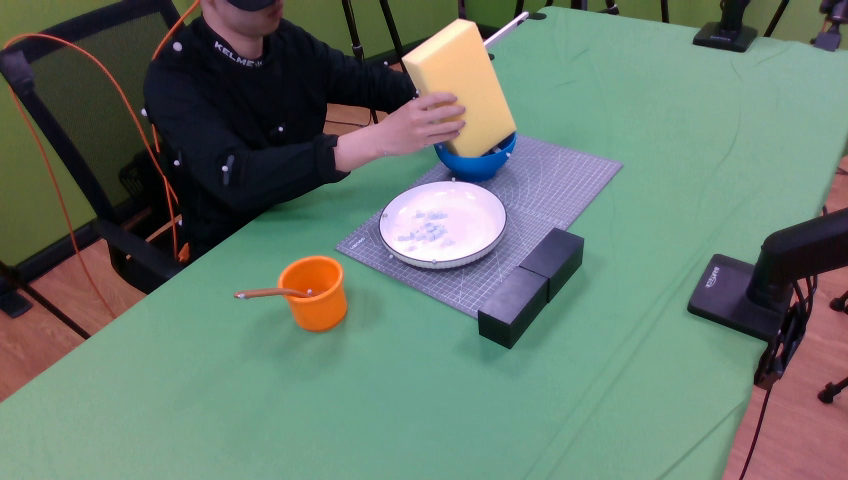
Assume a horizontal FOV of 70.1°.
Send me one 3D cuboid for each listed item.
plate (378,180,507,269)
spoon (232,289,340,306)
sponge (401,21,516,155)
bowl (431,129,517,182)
[{"bbox_3d":[0.031,-0.022,0.974,0.209,0.038,0.208,-4,40,4],"label":"plate"},{"bbox_3d":[-0.181,0.074,0.811,0.041,0.195,0.021,16,90,31],"label":"spoon"},{"bbox_3d":[0.063,-0.243,1.022,0.118,0.208,0.060,-36,36,-9],"label":"sponge"},{"bbox_3d":[0.091,-0.157,1.090,0.151,0.077,0.150,-1,38,1],"label":"bowl"}]
